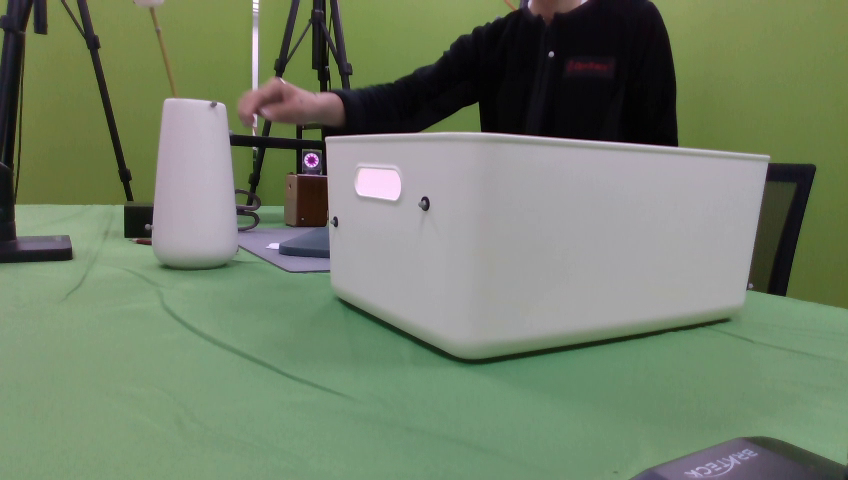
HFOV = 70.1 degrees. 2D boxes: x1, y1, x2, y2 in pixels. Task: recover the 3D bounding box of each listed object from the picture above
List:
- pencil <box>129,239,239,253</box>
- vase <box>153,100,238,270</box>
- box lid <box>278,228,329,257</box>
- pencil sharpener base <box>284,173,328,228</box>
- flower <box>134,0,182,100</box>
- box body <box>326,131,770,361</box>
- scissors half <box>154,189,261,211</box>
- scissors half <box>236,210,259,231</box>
[{"bbox_3d":[-0.350,0.008,0.874,0.193,0.012,0.012,4,8,19],"label":"pencil"},{"bbox_3d":[-0.278,-0.066,0.736,0.098,0.200,0.098,2,9,0],"label":"vase"},{"bbox_3d":[-0.019,0.012,0.950,0.371,0.015,0.263,4,7,4],"label":"box lid"},{"bbox_3d":[-0.239,-0.081,1.231,0.077,0.107,0.061,-2,8,-36],"label":"pencil sharpener base"},{"bbox_3d":[-0.282,-0.146,0.712,0.038,0.362,0.044,-23,24,-31],"label":"flower"},{"bbox_3d":[0.112,-0.010,0.583,0.366,0.160,0.253,-2,9,-33],"label":"box body"},{"bbox_3d":[-0.373,-0.066,1.049,0.176,0.040,0.012,-6,13,-27],"label":"scissors half"},{"bbox_3d":[-0.375,-0.046,1.051,0.176,0.040,0.013,13,-2,-28],"label":"scissors half"}]
